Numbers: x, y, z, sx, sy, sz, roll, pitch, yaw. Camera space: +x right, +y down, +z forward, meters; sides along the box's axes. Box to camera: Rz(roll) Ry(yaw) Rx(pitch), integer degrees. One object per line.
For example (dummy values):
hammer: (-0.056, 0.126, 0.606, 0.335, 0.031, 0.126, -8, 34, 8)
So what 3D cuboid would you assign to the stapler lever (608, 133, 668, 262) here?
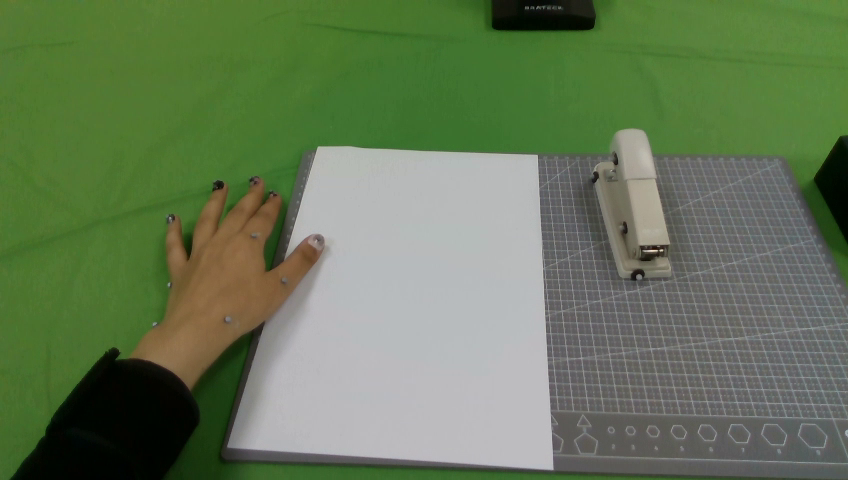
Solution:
stapler lever: (0.171, -0.037, 0.487, 0.027, 0.040, 0.117, -3, 52, 2)

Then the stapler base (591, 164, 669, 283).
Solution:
stapler base: (0.172, -0.023, 0.508, 0.041, 0.024, 0.129, -3, 52, 2)
